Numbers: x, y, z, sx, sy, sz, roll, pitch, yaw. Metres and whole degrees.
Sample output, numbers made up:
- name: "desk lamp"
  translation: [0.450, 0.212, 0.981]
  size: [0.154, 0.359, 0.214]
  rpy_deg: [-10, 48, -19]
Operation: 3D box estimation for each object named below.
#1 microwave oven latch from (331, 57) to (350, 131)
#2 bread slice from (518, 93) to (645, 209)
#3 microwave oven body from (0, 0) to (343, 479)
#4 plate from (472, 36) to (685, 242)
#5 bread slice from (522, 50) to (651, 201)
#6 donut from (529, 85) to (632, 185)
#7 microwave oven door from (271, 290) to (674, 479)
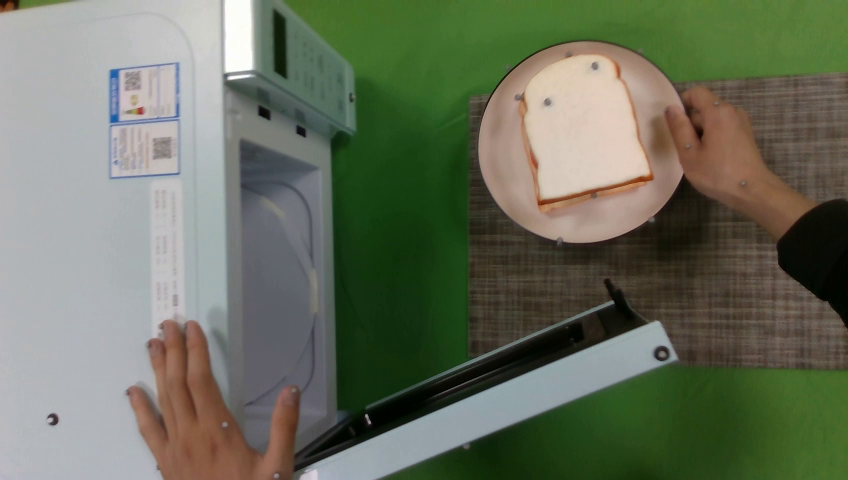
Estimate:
- name: "microwave oven latch"
  translation: [-0.103, -0.167, 0.697]
  size: [0.030, 0.029, 0.079]
  rpy_deg: [-3, 90, 12]
- name: "bread slice"
  translation: [0.151, -0.106, 0.622]
  size: [0.107, 0.018, 0.134]
  rpy_deg: [-18, 84, 9]
- name: "microwave oven body"
  translation: [-0.261, 0.015, 0.632]
  size: [0.325, 0.261, 0.441]
  rpy_deg: [-3, 89, 12]
- name: "plate"
  translation: [0.155, -0.100, 0.622]
  size: [0.207, 0.039, 0.207]
  rpy_deg: [0, 88, 11]
- name: "bread slice"
  translation: [0.143, -0.110, 0.565]
  size: [0.105, 0.019, 0.131]
  rpy_deg: [-14, 83, 16]
- name: "donut"
  translation: [0.151, -0.102, 0.590]
  size: [0.099, 0.048, 0.099]
  rpy_deg: [0, 89, 0]
- name: "microwave oven door"
  translation: [0.038, 0.144, 0.560]
  size: [0.356, 0.244, 0.039]
  rpy_deg: [-27, 83, 11]
